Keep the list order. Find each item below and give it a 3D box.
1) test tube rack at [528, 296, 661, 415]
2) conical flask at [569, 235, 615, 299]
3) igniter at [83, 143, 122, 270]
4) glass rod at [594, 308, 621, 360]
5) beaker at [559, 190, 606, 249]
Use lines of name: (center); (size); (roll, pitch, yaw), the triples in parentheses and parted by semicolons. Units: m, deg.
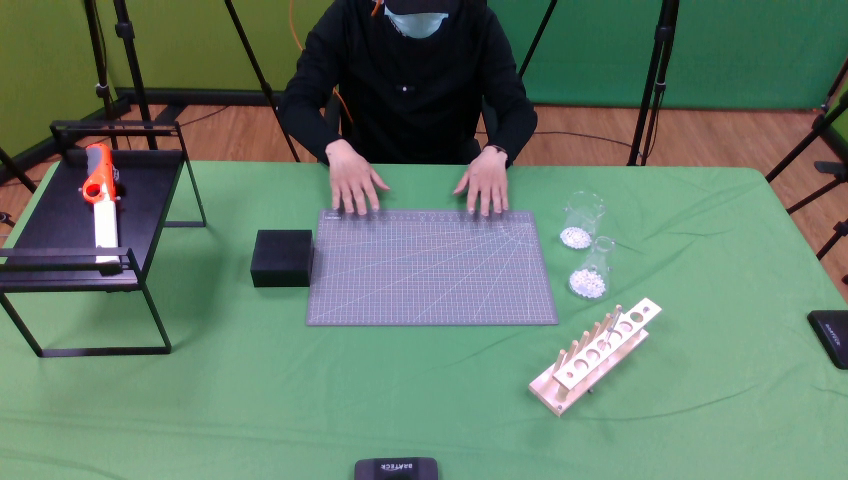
test tube rack: (0.285, 0.178, 1.005); (0.242, 0.085, 0.066); (-31, 55, -29)
conical flask: (0.314, 0.046, 1.108); (0.075, 0.122, 0.075); (2, 47, -2)
igniter: (-0.508, -0.063, 0.962); (0.057, 0.025, 0.274); (-14, 53, -18)
glass rod: (0.278, 0.156, 0.934); (0.008, 0.201, 0.008); (-1, 54, 1)
beaker: (0.312, -0.036, 1.202); (0.074, 0.101, 0.083); (-3, 47, -6)
